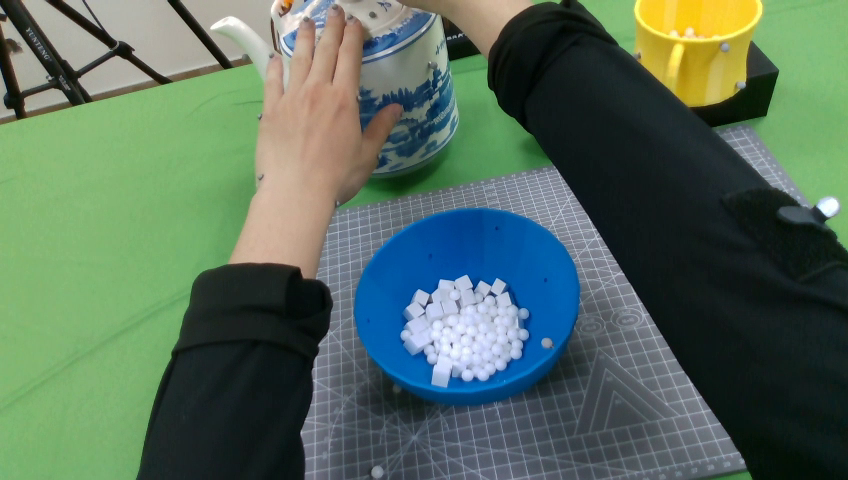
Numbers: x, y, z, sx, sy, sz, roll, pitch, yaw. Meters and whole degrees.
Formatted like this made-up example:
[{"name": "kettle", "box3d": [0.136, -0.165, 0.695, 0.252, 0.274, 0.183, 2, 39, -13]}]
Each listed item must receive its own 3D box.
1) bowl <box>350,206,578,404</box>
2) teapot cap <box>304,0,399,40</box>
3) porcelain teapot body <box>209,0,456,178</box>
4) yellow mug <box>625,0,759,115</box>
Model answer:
[{"name": "bowl", "box3d": [0.031, 0.056, 0.425, 0.151, 0.077, 0.150, -6, 49, 7]}, {"name": "teapot cap", "box3d": [-0.064, -0.200, 0.521, 0.085, 0.044, 0.084, -8, 49, 9]}, {"name": "porcelain teapot body", "box3d": [-0.084, -0.172, 0.554, 0.205, 0.228, 0.143, -8, 49, 8]}, {"name": "yellow mug", "box3d": [0.220, -0.160, 0.515, 0.099, 0.064, 0.130, 16, 57, 25]}]
